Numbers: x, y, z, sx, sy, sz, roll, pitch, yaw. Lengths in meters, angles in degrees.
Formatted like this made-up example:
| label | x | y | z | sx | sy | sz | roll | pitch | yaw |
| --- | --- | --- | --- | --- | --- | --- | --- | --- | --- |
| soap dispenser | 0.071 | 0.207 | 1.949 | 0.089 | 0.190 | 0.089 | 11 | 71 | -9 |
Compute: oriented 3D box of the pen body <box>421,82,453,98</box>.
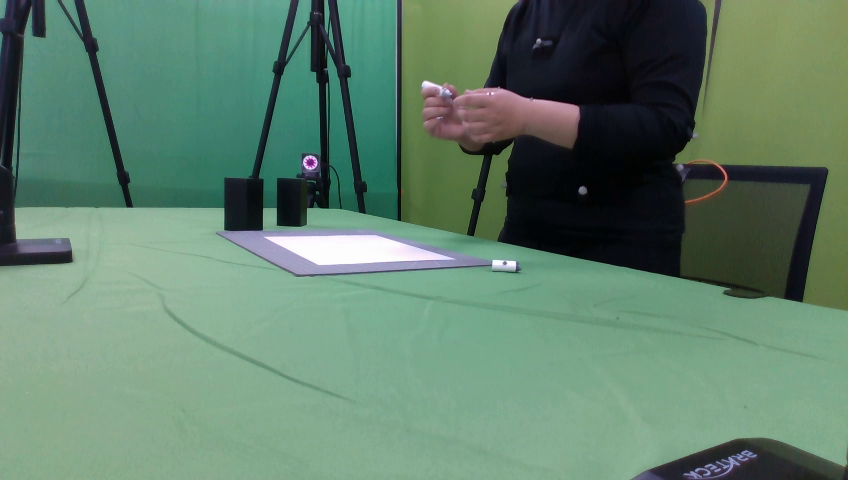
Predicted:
| label | x | y | z | sx | sy | sz | roll | pitch | yaw |
| --- | --- | --- | --- | --- | --- | --- | --- | --- | --- |
| pen body | 0.025 | -0.275 | 1.111 | 0.017 | 0.017 | 0.143 | 0 | 20 | -21 |

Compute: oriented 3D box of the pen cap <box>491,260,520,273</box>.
| label | x | y | z | sx | sy | sz | roll | pitch | yaw |
| --- | --- | --- | --- | --- | --- | --- | --- | --- | --- |
| pen cap | 0.110 | 0.036 | 0.813 | 0.038 | 0.017 | 0.017 | 4 | 7 | 7 |
